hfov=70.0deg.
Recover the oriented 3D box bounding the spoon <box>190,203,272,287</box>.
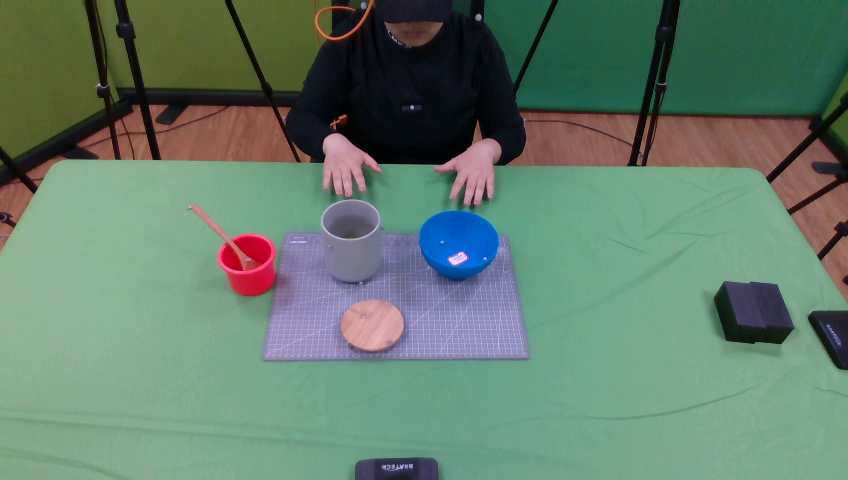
[{"bbox_3d":[-0.344,0.008,1.080,0.194,0.021,0.041,53,52,-16],"label":"spoon"}]

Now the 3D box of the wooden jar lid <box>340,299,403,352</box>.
[{"bbox_3d":[-0.090,0.150,1.046,0.108,0.021,0.107,3,47,-3],"label":"wooden jar lid"}]

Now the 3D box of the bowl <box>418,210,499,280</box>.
[{"bbox_3d":[0.062,0.022,1.140,0.151,0.077,0.150,2,46,-2],"label":"bowl"}]

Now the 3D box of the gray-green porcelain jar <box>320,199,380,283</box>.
[{"bbox_3d":[-0.133,0.007,1.106,0.106,0.127,0.105,2,46,-2],"label":"gray-green porcelain jar"}]
